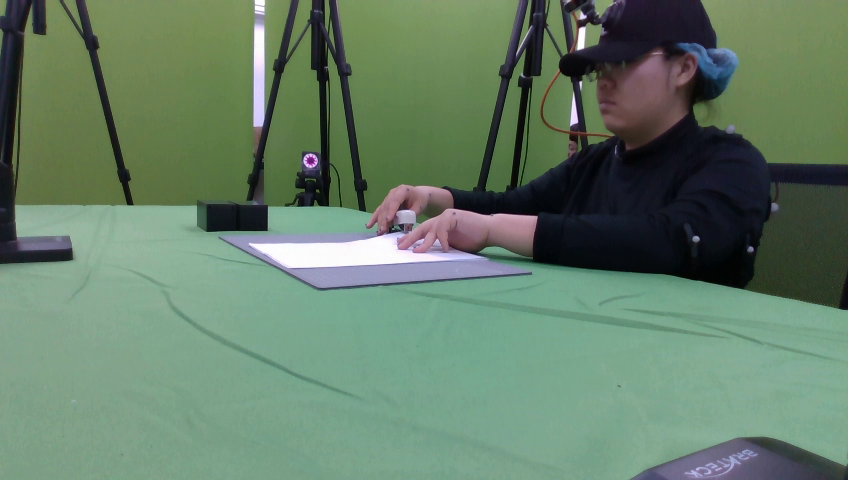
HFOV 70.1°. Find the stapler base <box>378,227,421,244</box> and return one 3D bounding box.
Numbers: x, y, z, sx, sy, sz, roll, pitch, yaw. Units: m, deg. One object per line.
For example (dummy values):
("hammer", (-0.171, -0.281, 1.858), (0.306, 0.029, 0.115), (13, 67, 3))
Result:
("stapler base", (-0.044, -0.012, 1.072), (0.041, 0.024, 0.130), (5, 4, -23))

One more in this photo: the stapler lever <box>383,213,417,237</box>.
("stapler lever", (-0.043, -0.033, 1.071), (0.027, 0.040, 0.117), (5, 8, -23))
